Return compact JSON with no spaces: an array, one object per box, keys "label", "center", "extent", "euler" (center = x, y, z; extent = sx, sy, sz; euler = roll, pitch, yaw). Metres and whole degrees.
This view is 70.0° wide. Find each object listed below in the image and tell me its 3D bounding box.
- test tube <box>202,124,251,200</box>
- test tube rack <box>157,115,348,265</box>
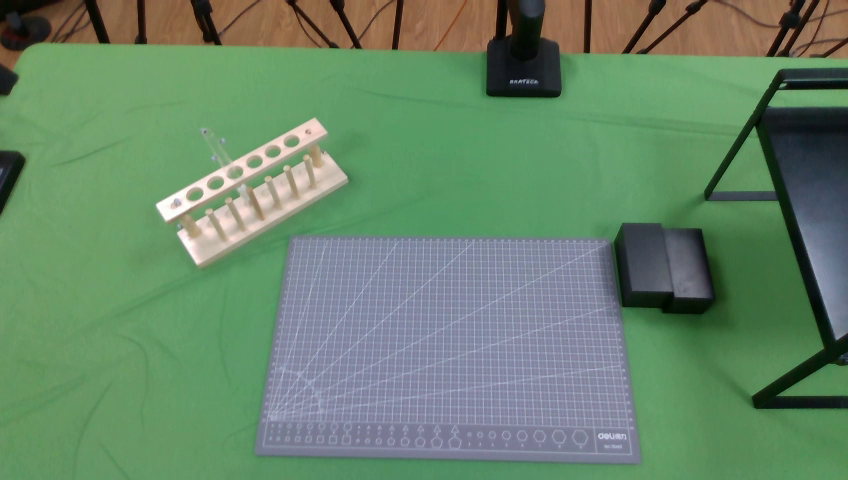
[{"label":"test tube","center":[-0.258,-0.099,0.805],"extent":[0.017,0.151,0.017],"euler":[-2,59,4]},{"label":"test tube rack","center":[-0.231,-0.071,0.846],"extent":[0.242,0.086,0.066],"euler":[-33,65,-15]}]
